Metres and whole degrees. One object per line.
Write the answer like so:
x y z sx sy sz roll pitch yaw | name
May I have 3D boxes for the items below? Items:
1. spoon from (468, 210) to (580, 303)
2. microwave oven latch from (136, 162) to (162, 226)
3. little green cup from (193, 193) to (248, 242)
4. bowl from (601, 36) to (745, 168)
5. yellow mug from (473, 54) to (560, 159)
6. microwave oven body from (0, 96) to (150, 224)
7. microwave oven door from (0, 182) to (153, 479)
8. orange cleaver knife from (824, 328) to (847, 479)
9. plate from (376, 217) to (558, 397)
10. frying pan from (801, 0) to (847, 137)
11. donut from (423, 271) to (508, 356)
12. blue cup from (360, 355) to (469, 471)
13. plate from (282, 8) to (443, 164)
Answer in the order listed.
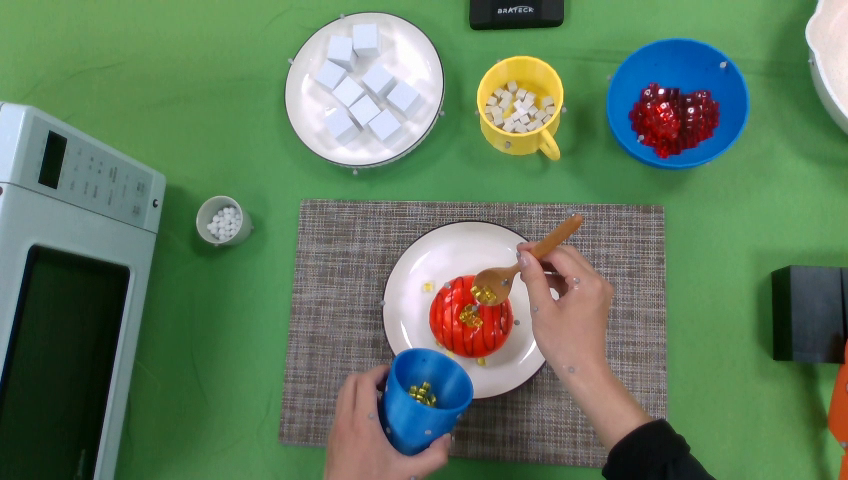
0.093 0.020 0.590 0.021 0.194 0.041 -39 85 -30 | spoon
-0.360 -0.059 0.777 0.030 0.029 0.079 7 82 9 | microwave oven latch
-0.257 -0.026 0.774 0.061 0.039 0.061 -1 81 7 | little green cup
0.277 -0.147 0.699 0.151 0.077 0.151 -1 80 8 | bowl
0.120 -0.151 0.728 0.100 0.064 0.130 -35 78 1 | yellow mug
-0.539 0.084 0.678 0.325 0.261 0.440 5 81 9 | microwave oven body
-0.401 0.138 0.644 0.039 0.245 0.354 5 81 9 | microwave oven door
0.429 0.186 0.617 0.012 0.077 0.212 1 109 9 | orange cleaver knife
0.049 0.078 0.709 0.209 0.038 0.208 -1 80 8 | plate
0.552 -0.112 0.639 0.306 0.103 0.485 7 73 11 | frying pan
0.048 0.084 0.697 0.099 0.048 0.099 -1 84 8 | donut
-0.017 0.179 0.602 0.092 0.093 0.100 43 124 13 | blue cup
-0.076 -0.194 0.778 0.207 0.039 0.207 -1 80 8 | plate
